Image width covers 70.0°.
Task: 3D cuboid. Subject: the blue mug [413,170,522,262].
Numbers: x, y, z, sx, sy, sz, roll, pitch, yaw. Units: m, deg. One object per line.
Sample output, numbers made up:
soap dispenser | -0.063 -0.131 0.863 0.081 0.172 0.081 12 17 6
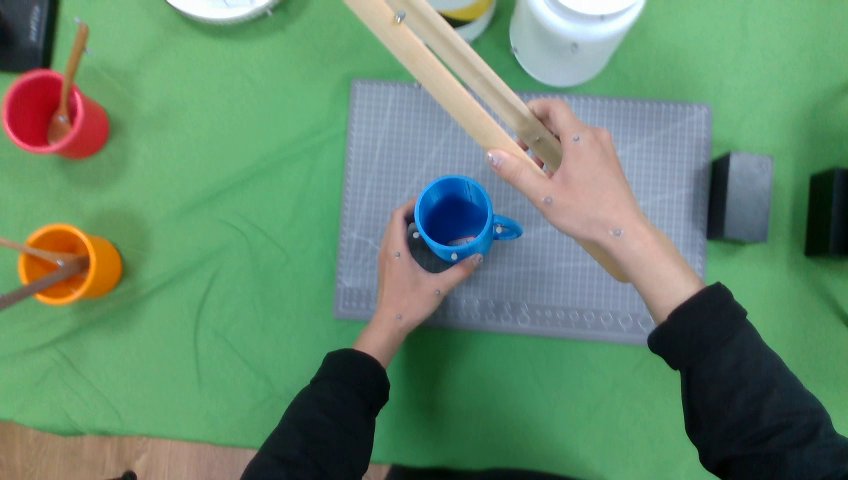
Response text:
blue mug | 0.052 -0.022 0.677 0.116 0.106 0.082 8 80 7

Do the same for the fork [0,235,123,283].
fork | -0.453 0.009 0.692 0.209 0.018 0.028 26 84 -40

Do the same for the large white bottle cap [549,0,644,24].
large white bottle cap | 0.170 -0.269 0.592 0.115 0.018 0.114 0 85 1

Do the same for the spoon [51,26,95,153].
spoon | -0.408 -0.171 0.706 0.041 0.021 0.194 51 132 7

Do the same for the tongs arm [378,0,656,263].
tongs arm | 0.071 -0.108 0.523 0.390 0.028 0.028 41 127 -17

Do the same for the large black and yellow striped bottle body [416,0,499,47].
large black and yellow striped bottle body | 0.026 -0.310 0.683 0.131 0.184 0.130 0 85 2

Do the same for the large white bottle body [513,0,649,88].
large white bottle body | 0.172 -0.261 0.675 0.130 0.185 0.130 0 86 2

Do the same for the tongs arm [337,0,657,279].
tongs arm | 0.064 -0.091 0.505 0.387 0.050 0.026 43 130 -14

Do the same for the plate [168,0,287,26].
plate | -0.244 -0.369 0.769 0.207 0.039 0.207 0 86 2

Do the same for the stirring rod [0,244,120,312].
stirring rod | -0.433 0.048 0.695 0.014 0.006 0.176 52 46 1
